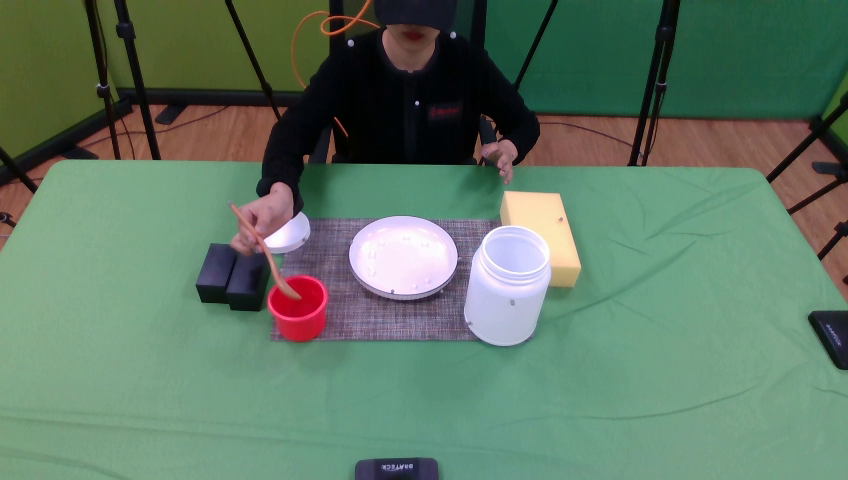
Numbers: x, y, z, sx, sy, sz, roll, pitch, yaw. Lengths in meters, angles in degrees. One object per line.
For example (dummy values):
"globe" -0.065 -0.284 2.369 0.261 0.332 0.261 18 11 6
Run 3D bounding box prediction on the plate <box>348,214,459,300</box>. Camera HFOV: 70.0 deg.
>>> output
"plate" -0.040 0.034 1.146 0.209 0.038 0.208 2 47 -2

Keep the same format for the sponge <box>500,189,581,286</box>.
"sponge" 0.224 -0.007 1.192 0.118 0.061 0.205 1 47 -6

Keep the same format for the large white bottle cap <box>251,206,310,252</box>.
"large white bottle cap" -0.284 -0.023 1.198 0.115 0.018 0.114 1 46 0

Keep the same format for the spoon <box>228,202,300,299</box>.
"spoon" -0.258 0.017 0.977 0.021 0.041 0.193 -31 89 4

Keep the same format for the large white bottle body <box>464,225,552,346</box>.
"large white bottle body" 0.140 0.076 1.017 0.131 0.185 0.130 2 46 -2
